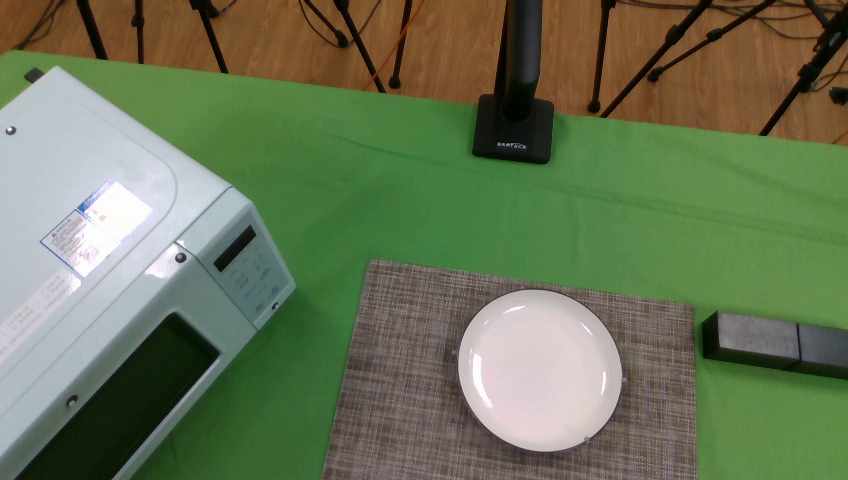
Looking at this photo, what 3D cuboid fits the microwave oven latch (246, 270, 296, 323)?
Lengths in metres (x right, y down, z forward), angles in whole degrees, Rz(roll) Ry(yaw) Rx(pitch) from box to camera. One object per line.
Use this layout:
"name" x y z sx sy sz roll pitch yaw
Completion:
"microwave oven latch" -0.203 0.069 0.798 0.030 0.030 0.079 35 70 14

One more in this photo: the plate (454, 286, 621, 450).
"plate" 0.141 0.161 0.772 0.208 0.039 0.206 0 65 0

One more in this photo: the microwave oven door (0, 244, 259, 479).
"microwave oven door" -0.334 0.185 0.631 0.039 0.245 0.355 33 69 15

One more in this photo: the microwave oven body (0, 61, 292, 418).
"microwave oven body" -0.428 0.080 0.685 0.324 0.262 0.440 33 70 14

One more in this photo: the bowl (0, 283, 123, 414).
"bowl" -0.414 0.133 0.701 0.151 0.077 0.150 -1 61 2
